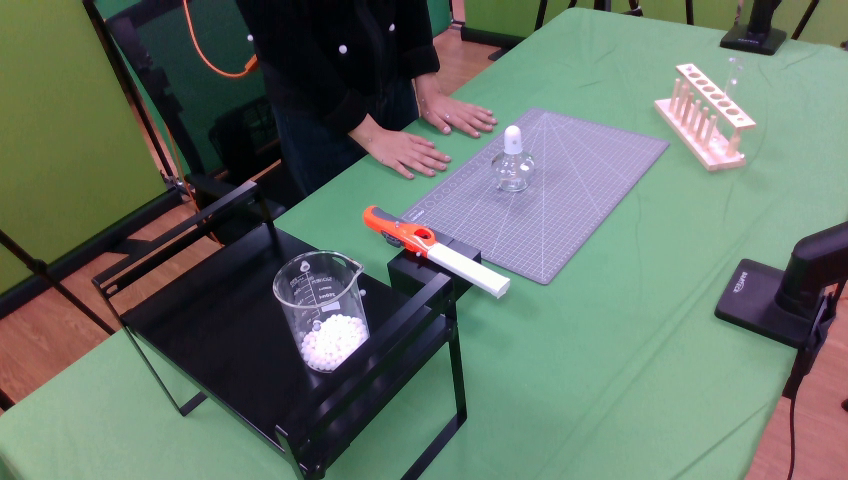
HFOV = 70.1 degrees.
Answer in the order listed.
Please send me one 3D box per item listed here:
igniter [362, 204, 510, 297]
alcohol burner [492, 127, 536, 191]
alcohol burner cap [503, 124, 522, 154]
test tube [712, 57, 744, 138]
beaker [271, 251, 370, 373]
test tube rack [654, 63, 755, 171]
[{"bbox_3d":[0.006,0.009,0.887,0.274,0.025,0.057,29,50,32],"label":"igniter"},{"bbox_3d":[0.156,-0.146,1.046,0.078,0.119,0.077,-4,43,4],"label":"alcohol burner"},{"bbox_3d":[0.150,-0.172,1.022,0.034,0.048,0.033,-4,36,3],"label":"alcohol burner cap"},{"bbox_3d":[0.530,-0.246,1.056,0.017,0.151,0.017,-1,38,1],"label":"test tube"},{"bbox_3d":[-0.090,0.069,0.571,0.084,0.101,0.073,-19,42,-13],"label":"beaker"},{"bbox_3d":[0.510,-0.233,1.120,0.067,0.085,0.241,-8,41,-1],"label":"test tube rack"}]
